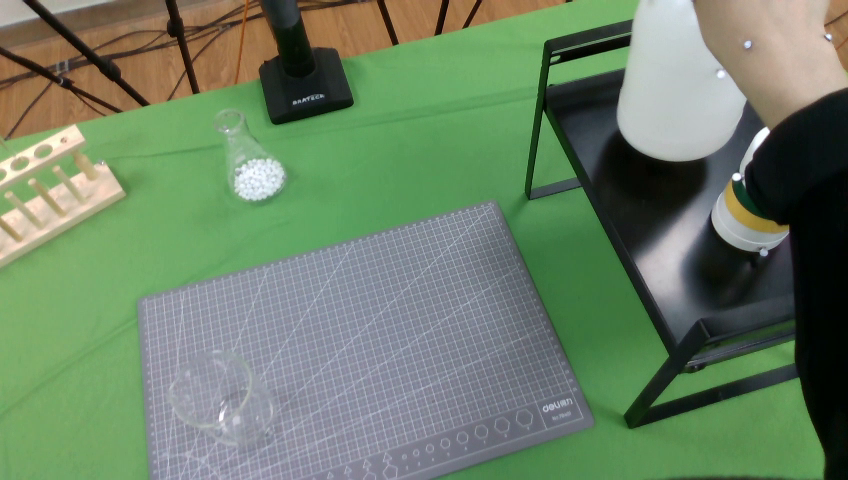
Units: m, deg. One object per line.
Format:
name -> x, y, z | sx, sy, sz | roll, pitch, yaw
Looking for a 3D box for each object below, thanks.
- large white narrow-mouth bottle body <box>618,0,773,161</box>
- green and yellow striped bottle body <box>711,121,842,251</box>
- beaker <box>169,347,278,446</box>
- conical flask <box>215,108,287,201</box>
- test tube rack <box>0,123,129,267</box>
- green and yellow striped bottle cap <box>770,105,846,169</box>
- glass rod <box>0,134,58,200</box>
large white narrow-mouth bottle body -> 0.211, -0.156, 0.474 | 0.101, 0.196, 0.101 | -5, 58, 9
green and yellow striped bottle body -> 0.279, -0.047, 0.479 | 0.063, 0.121, 0.062 | -2, 59, 3
beaker -> -0.194, 0.160, 0.603 | 0.084, 0.101, 0.073 | -7, 59, 0
conical flask -> -0.221, -0.110, 0.753 | 0.075, 0.123, 0.074 | -2, 59, 3
test tube rack -> -0.509, -0.038, 0.749 | 0.242, 0.086, 0.066 | -35, 63, -16
green and yellow striped bottle cap -> 0.275, -0.075, 0.435 | 0.045, 0.020, 0.045 | -1, 61, 3
glass rod -> -0.495, -0.113, 0.715 | 0.008, 0.202, 0.008 | -4, 52, 5
